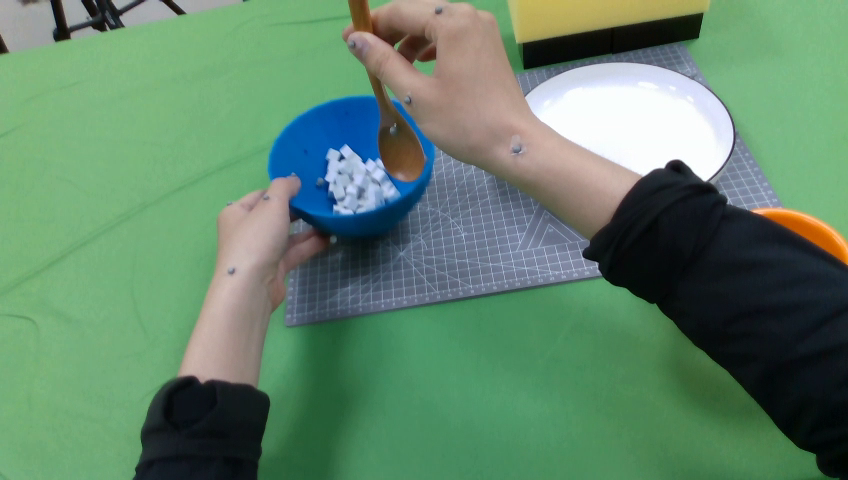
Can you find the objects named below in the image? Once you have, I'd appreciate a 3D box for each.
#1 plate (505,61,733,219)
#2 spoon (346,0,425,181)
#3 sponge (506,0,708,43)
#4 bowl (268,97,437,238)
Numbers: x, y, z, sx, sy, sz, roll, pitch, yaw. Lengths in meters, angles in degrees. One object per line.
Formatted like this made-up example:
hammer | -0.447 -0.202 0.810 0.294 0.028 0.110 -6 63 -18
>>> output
plate | 0.183 -0.096 0.588 0.209 0.038 0.207 -6 51 7
spoon | -0.030 -0.107 0.409 0.041 0.195 0.021 18 63 21
sponge | 0.194 -0.291 0.668 0.207 0.061 0.117 -8 51 5
bowl | -0.060 -0.054 0.565 0.151 0.077 0.150 -3 53 4
